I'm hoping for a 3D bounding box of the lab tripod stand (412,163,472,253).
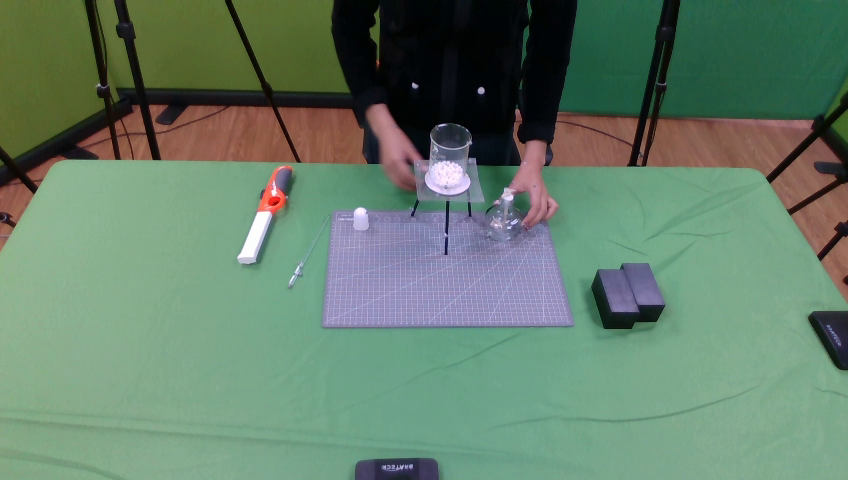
[{"bbox_3d":[0.043,-0.069,1.187,0.148,0.132,0.147,3,47,-3],"label":"lab tripod stand"}]

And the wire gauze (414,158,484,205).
[{"bbox_3d":[0.045,-0.113,1.137,0.125,0.011,0.120,2,48,-6],"label":"wire gauze"}]

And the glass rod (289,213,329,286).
[{"bbox_3d":[-0.221,0.014,1.179,0.008,0.008,0.199,12,46,8],"label":"glass rod"}]

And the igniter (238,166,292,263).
[{"bbox_3d":[-0.319,-0.060,1.229,0.057,0.025,0.275,-1,45,10],"label":"igniter"}]

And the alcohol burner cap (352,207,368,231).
[{"bbox_3d":[-0.128,-0.046,1.215,0.034,0.048,0.033,4,45,-4],"label":"alcohol burner cap"}]

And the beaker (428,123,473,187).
[{"bbox_3d":[0.044,-0.154,1.109,0.074,0.101,0.083,-25,54,-25],"label":"beaker"}]

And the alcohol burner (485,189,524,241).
[{"bbox_3d":[0.161,-0.056,1.196,0.078,0.119,0.077,2,48,-2],"label":"alcohol burner"}]
